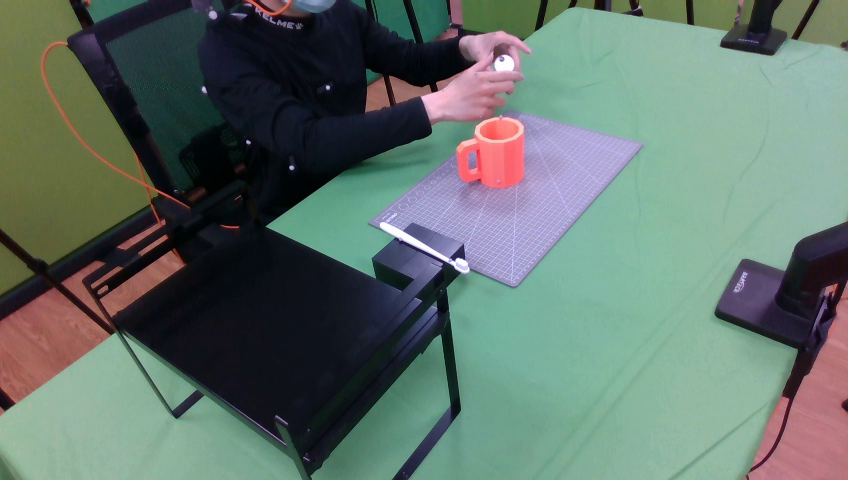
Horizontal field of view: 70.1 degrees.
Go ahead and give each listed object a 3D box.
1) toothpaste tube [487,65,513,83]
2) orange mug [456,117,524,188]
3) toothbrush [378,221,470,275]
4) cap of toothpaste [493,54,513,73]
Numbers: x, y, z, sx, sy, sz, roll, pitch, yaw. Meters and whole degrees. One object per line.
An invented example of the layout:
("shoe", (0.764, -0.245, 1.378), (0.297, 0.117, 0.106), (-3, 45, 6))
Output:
("toothpaste tube", (0.156, -0.334, 1.210), (0.055, 0.034, 0.165), (2, 4, 3))
("orange mug", (0.117, -0.152, 1.071), (0.127, 0.101, 0.083), (-14, 41, -15))
("toothbrush", (-0.004, 0.007, 0.894), (0.180, 0.017, 0.014), (27, 55, 34))
("cap of toothpaste", (0.148, -0.330, 1.131), (0.037, 0.037, 0.011), (-4, 4, 4))
